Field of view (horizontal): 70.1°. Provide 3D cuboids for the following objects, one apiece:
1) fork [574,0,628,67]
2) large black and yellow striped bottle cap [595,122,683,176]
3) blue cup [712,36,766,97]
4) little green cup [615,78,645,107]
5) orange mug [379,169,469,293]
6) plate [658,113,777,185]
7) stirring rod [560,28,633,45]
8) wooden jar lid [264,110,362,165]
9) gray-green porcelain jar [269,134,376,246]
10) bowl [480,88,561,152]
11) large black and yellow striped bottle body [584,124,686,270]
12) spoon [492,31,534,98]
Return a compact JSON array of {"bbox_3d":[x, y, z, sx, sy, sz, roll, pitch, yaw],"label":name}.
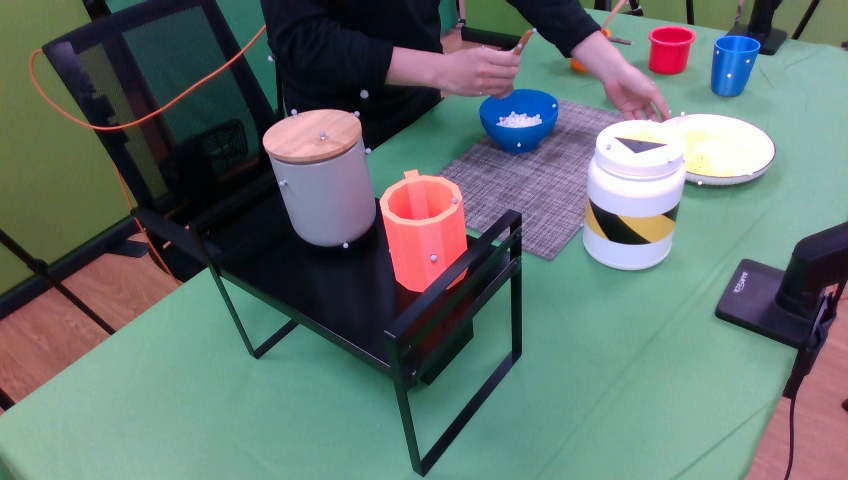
[{"bbox_3d":[0.413,-0.481,1.377,0.207,0.019,0.028,-56,43,12],"label":"fork"},{"bbox_3d":[0.293,-0.126,0.826,0.115,0.019,0.114,-3,40,3],"label":"large black and yellow striped bottle cap"},{"bbox_3d":[0.627,-0.350,1.227,0.092,0.100,0.092,-4,39,4],"label":"blue cup"},{"bbox_3d":[0.426,-0.306,1.257,0.061,0.039,0.061,-5,40,4],"label":"little green cup"},{"bbox_3d":[-0.002,-0.019,0.665,0.083,0.101,0.125,-12,45,-4],"label":"orange mug"},{"bbox_3d":[0.506,-0.158,1.073,0.209,0.038,0.208,-5,40,4],"label":"plate"},{"bbox_3d":[0.381,-0.453,1.344,0.174,0.006,0.014,26,49,33],"label":"stirring rod"},{"bbox_3d":[-0.122,-0.112,0.673,0.108,0.021,0.108,-4,37,4],"label":"wooden jar lid"},{"bbox_3d":[-0.115,-0.064,0.715,0.106,0.127,0.105,-4,40,4],"label":"gray-green porcelain jar"},{"bbox_3d":[0.185,-0.222,1.160,0.151,0.077,0.150,-5,40,4],"label":"bowl"},{"bbox_3d":[0.304,-0.063,0.880,0.131,0.185,0.130,-5,41,5],"label":"large black and yellow striped bottle body"},{"bbox_3d":[0.149,-0.289,1.011,0.042,0.194,0.021,-9,71,-9],"label":"spoon"}]
